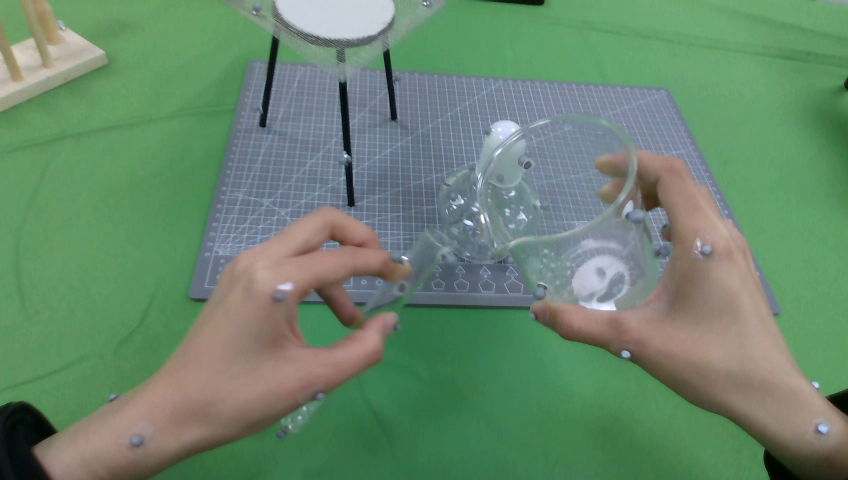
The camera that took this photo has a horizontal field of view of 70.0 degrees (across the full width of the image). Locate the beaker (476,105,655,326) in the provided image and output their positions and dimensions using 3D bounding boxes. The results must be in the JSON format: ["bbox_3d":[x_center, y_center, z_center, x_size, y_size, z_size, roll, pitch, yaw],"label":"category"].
[{"bbox_3d":[0.076,-0.004,0.312,0.084,0.101,0.073,-49,48,-10],"label":"beaker"}]

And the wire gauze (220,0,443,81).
[{"bbox_3d":[-0.068,-0.172,0.442,0.124,0.011,0.121,33,54,18],"label":"wire gauze"}]

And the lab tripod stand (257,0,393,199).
[{"bbox_3d":[-0.073,-0.128,0.493,0.148,0.132,0.147,5,50,-6],"label":"lab tripod stand"}]

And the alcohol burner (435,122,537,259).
[{"bbox_3d":[0.049,-0.041,0.450,0.078,0.120,0.077,5,48,-6],"label":"alcohol burner"}]

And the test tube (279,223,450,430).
[{"bbox_3d":[-0.035,0.050,0.317,0.017,0.150,0.017,32,23,-15],"label":"test tube"}]

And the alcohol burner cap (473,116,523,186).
[{"bbox_3d":[0.053,-0.064,0.421,0.034,0.048,0.033,2,53,-3],"label":"alcohol burner cap"}]

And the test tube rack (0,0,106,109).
[{"bbox_3d":[-0.402,-0.149,0.498,0.066,0.086,0.242,32,52,19],"label":"test tube rack"}]
